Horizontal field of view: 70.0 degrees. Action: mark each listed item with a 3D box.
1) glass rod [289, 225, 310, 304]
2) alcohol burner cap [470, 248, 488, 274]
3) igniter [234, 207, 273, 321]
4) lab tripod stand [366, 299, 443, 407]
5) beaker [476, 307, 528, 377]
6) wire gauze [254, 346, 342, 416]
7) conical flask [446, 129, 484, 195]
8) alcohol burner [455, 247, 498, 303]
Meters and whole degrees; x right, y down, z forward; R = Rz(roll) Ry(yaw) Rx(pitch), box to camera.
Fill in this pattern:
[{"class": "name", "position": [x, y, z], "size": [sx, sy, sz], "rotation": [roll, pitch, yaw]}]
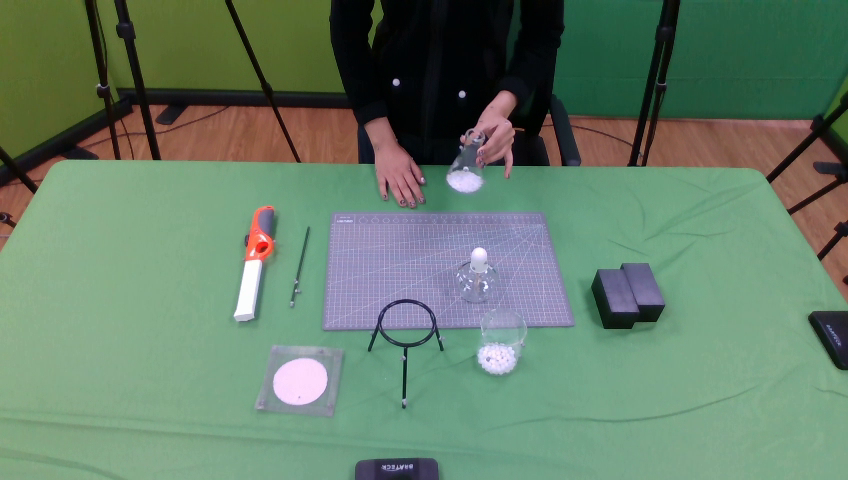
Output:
[{"class": "glass rod", "position": [-0.235, 0.043, 1.150], "size": [0.008, 0.008, 0.198], "rotation": [3, 46, -1]}, {"class": "alcohol burner cap", "position": [0.095, 0.034, 1.057], "size": [0.034, 0.048, 0.033], "rotation": [-3, 52, 4]}, {"class": "igniter", "position": [-0.318, 0.035, 1.137], "size": [0.057, 0.025, 0.274], "rotation": [-8, 46, 3]}, {"class": "lab tripod stand", "position": [-0.028, 0.165, 0.960], "size": [0.148, 0.132, 0.147], "rotation": [2, 44, -2]}, {"class": "beaker", "position": [0.122, 0.171, 0.991], "size": [0.084, 0.101, 0.073], "rotation": [-34, 56, -31]}, {"class": "wire gauze", "position": [-0.201, 0.223, 0.978], "size": [0.125, 0.011, 0.121], "rotation": [4, 45, 1]}, {"class": "conical flask", "position": [0.086, -0.153, 1.164], "size": [0.075, 0.122, 0.075], "rotation": [5, 45, -5]}, {"class": "alcohol burner", "position": [0.095, 0.057, 1.085], "size": [0.078, 0.120, 0.077], "rotation": [1, 47, -1]}]
